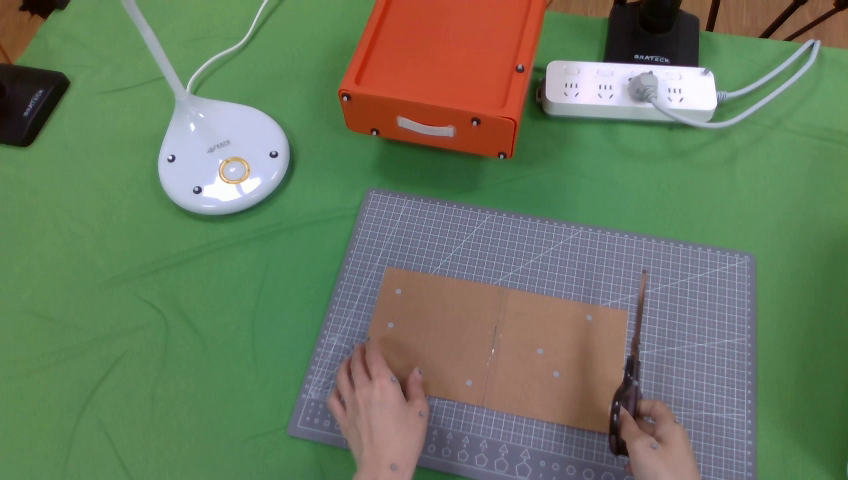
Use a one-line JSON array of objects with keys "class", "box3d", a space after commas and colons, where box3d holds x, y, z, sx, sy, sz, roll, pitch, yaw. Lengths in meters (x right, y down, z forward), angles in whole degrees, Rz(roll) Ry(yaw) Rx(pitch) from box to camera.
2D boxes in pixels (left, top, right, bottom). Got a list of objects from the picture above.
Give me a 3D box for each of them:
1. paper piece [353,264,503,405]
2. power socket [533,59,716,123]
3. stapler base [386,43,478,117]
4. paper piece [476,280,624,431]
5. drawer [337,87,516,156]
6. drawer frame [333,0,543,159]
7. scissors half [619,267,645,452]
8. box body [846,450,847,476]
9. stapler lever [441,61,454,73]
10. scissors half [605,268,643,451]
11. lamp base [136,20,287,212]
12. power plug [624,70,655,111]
[{"class": "paper piece", "box3d": [0.006, 0.096, 0.647, 0.135, 0.009, 0.137, 10, 64, 10]}, {"class": "power socket", "box3d": [0.254, -0.190, 0.769, 0.226, 0.033, 0.071, 5, 64, 5]}, {"class": "stapler base", "box3d": [0.007, -0.198, 0.728, 0.129, 0.024, 0.041, 40, 87, 23]}, {"class": "paper piece", "box3d": [0.134, 0.116, 0.629, 0.135, 0.004, 0.135, 13, 64, 10]}, {"class": "drawer", "box3d": [0.025, -0.215, 0.716, 0.194, 0.074, 0.210, 11, 63, 9]}, {"class": "drawer frame", "box3d": [0.024, -0.217, 0.717, 0.201, 0.083, 0.212, 11, 63, 9]}, {"class": "scissors half", "box3d": [0.201, 0.112, 0.576, 0.012, 0.040, 0.175, 3, 82, 38]}, {"class": "box body", "box3d": [0.560, 0.101, 0.532, 0.253, 0.161, 0.362, 23, 66, 14]}, {"class": "stapler lever", "box3d": [-0.003, -0.205, 0.704, 0.117, 0.040, 0.027, 40, 87, 24]}, {"class": "scissors half", "box3d": [0.189, 0.106, 0.560, 0.013, 0.040, 0.174, 4, 65, 33]}, {"class": "lamp base", "box3d": [-0.263, -0.148, 0.689, 0.160, 0.182, 0.177, -40, 65, -17]}, {"class": "power plug", "box3d": [0.259, -0.174, 0.735, 0.035, 0.053, 0.072, 15, 65, 10]}]
